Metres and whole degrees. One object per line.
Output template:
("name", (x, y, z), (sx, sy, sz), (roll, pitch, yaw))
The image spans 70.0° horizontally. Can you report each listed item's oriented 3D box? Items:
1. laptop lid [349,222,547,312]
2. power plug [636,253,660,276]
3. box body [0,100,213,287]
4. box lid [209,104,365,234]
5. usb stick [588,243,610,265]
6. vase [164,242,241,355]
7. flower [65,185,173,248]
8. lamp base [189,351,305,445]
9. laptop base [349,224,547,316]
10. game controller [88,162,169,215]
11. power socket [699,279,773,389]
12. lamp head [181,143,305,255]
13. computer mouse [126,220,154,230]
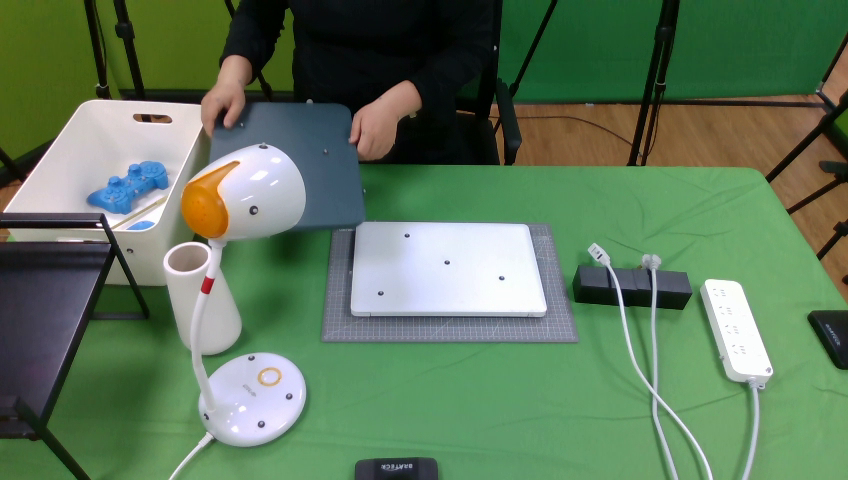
("laptop lid", (0.041, 0.045, 1.143), (0.357, 0.013, 0.240), (2, 44, -3))
("power plug", (0.415, 0.050, 1.139), (0.035, 0.053, 0.072), (46, 49, 10))
("box body", (-0.560, -0.092, 1.144), (0.254, 0.161, 0.361), (3, 46, -2))
("box lid", (-0.253, -0.141, 1.102), (0.264, 0.015, 0.369), (-3, 45, -11))
("usb stick", (0.336, 0.024, 1.172), (0.027, 0.021, 0.059), (33, 17, -12))
("vase", (-0.349, 0.096, 0.954), (0.098, 0.201, 0.097), (3, 47, -3))
("flower", (-0.566, -0.058, 1.199), (0.044, 0.038, 0.361), (43, 52, -2))
("lamp base", (-0.268, 0.196, 0.876), (0.160, 0.181, 0.179), (26, 52, 20))
("laptop base", (0.041, 0.055, 1.148), (0.355, 0.023, 0.234), (1, 41, -4))
("game controller", (-0.597, -0.113, 1.234), (0.097, 0.052, 0.155), (29, 51, 20))
("power socket", (0.551, 0.157, 1.081), (0.072, 0.033, 0.225), (5, 46, 1))
("lamp head", (-0.216, -0.044, 0.697), (0.112, 0.113, 0.123), (23, 31, 17))
("computer mouse", (-0.537, 0.008, 1.127), (0.062, 0.041, 0.117), (32, 56, 20))
